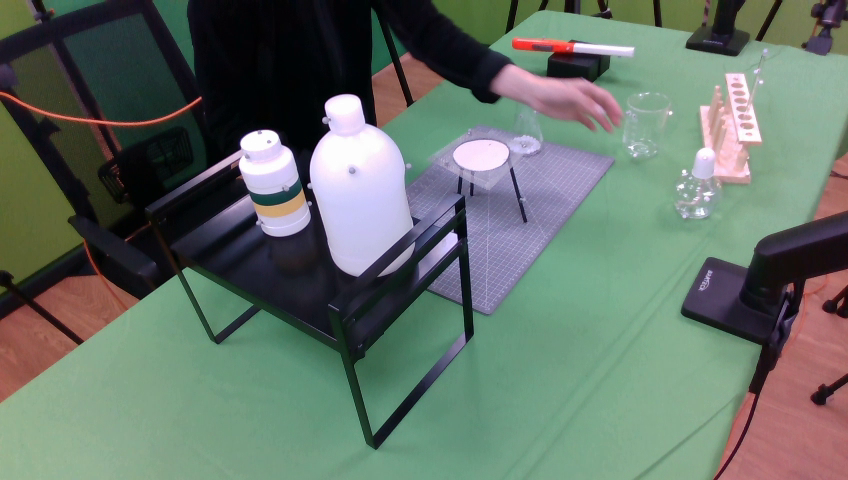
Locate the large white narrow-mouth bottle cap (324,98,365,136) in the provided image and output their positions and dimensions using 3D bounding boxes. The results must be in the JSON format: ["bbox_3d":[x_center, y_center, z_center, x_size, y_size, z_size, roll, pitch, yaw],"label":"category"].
[{"bbox_3d":[-0.076,-0.120,0.585,0.038,0.024,0.037,-3,42,3],"label":"large white narrow-mouth bottle cap"}]

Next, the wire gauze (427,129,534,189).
[{"bbox_3d":[0.086,-0.131,0.923,0.124,0.011,0.122,26,52,33],"label":"wire gauze"}]

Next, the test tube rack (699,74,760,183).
[{"bbox_3d":[0.547,-0.208,1.095,0.066,0.085,0.242,6,42,15],"label":"test tube rack"}]

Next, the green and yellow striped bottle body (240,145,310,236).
[{"bbox_3d":[-0.181,-0.068,0.729,0.063,0.120,0.063,-4,40,4],"label":"green and yellow striped bottle body"}]

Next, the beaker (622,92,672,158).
[{"bbox_3d":[0.402,-0.210,1.106,0.074,0.101,0.083,-9,40,-2],"label":"beaker"}]

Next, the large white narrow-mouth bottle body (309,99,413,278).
[{"bbox_3d":[-0.069,-0.057,0.644,0.102,0.195,0.101,-3,42,4],"label":"large white narrow-mouth bottle body"}]

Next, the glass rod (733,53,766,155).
[{"bbox_3d":[0.540,-0.220,1.007,0.008,0.201,0.008,-5,46,6],"label":"glass rod"}]

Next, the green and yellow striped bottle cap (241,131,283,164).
[{"bbox_3d":[-0.187,-0.107,0.695,0.045,0.020,0.045,-3,39,3],"label":"green and yellow striped bottle cap"}]

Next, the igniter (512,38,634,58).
[{"bbox_3d":[0.328,-0.433,1.360,0.275,0.025,0.057,12,33,20],"label":"igniter"}]

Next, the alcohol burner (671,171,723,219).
[{"bbox_3d":[0.434,-0.093,0.955,0.078,0.119,0.077,-3,43,3],"label":"alcohol burner"}]

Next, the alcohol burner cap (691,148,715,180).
[{"bbox_3d":[0.432,-0.120,0.930,0.034,0.048,0.033,-7,48,8],"label":"alcohol burner cap"}]

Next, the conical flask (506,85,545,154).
[{"bbox_3d":[0.190,-0.228,1.134,0.075,0.122,0.075,-4,41,4],"label":"conical flask"}]

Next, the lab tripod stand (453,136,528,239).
[{"bbox_3d":[0.094,-0.086,0.974,0.148,0.132,0.147,-3,43,4],"label":"lab tripod stand"}]
